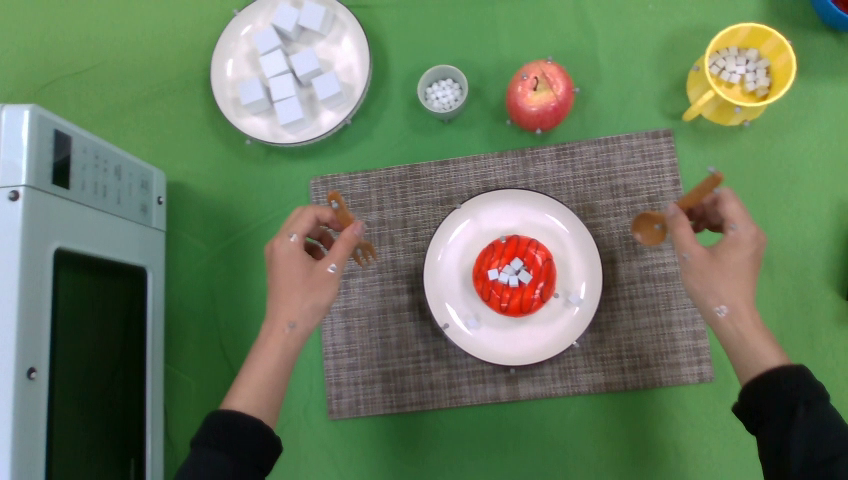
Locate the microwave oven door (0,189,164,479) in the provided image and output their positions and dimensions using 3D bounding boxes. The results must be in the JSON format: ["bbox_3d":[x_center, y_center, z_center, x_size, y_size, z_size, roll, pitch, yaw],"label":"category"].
[{"bbox_3d":[-0.344,0.146,0.620,0.039,0.245,0.354,-5,81,5],"label":"microwave oven door"}]

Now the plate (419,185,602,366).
[{"bbox_3d":[0.099,0.040,0.709,0.209,0.038,0.208,-1,82,6],"label":"plate"}]

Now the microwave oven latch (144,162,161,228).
[{"bbox_3d":[-0.344,-0.055,0.752,0.030,0.029,0.079,-3,82,5],"label":"microwave oven latch"}]

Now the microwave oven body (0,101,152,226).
[{"bbox_3d":[-0.491,0.116,0.645,0.326,0.261,0.440,-4,82,5],"label":"microwave oven body"}]

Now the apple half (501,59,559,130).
[{"bbox_3d":[0.120,-0.166,0.723,0.053,0.075,0.080,-28,83,6],"label":"apple half"}]

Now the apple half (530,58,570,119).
[{"bbox_3d":[0.154,-0.184,0.721,0.033,0.081,0.081,-28,79,5],"label":"apple half"}]

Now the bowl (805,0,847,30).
[{"bbox_3d":[0.503,-0.302,0.701,0.151,0.077,0.151,-1,82,6],"label":"bowl"}]

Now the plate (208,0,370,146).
[{"bbox_3d":[-0.170,-0.218,0.777,0.207,0.039,0.207,-1,82,6],"label":"plate"}]

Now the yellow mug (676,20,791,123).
[{"bbox_3d":[0.348,-0.185,0.706,0.131,0.064,0.099,-39,80,0],"label":"yellow mug"}]

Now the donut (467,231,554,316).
[{"bbox_3d":[0.100,0.039,0.698,0.099,0.048,0.099,-1,83,7],"label":"donut"}]

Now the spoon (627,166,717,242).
[{"bbox_3d":[0.249,-0.033,0.616,0.021,0.194,0.041,-37,79,-6],"label":"spoon"}]

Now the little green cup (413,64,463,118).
[{"bbox_3d":[0.019,-0.183,0.753,0.061,0.039,0.061,-1,82,6],"label":"little green cup"}]

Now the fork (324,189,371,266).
[{"bbox_3d":[-0.079,-0.009,0.637,0.028,0.208,0.018,-26,74,-6],"label":"fork"}]
